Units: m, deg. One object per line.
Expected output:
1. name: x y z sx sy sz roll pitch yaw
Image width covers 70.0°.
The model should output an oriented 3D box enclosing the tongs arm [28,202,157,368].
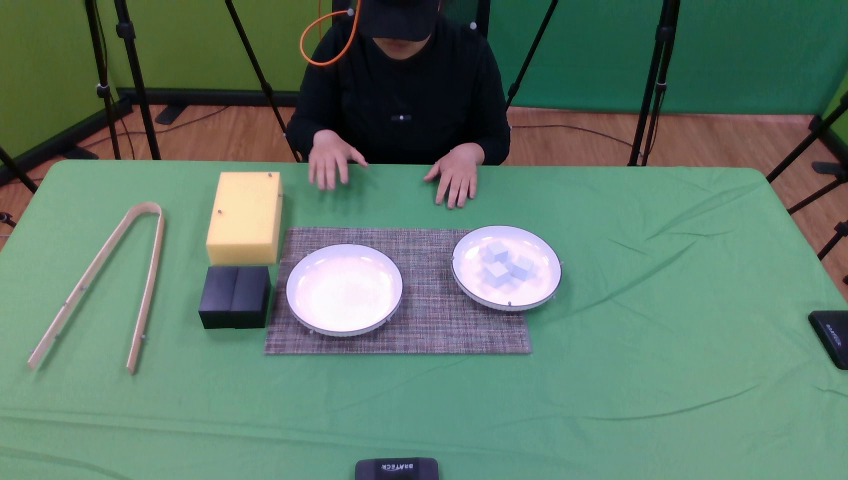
1. tongs arm: -0.579 0.064 1.084 0.051 0.026 0.382 6 45 1

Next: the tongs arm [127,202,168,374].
1. tongs arm: -0.496 0.070 1.090 0.028 0.028 0.385 -6 47 -6

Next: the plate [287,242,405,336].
1. plate: -0.138 0.090 1.085 0.208 0.039 0.206 2 46 -2

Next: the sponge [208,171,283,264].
1. sponge: -0.346 -0.048 1.191 0.118 0.061 0.205 -2 46 -6

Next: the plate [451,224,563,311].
1. plate: 0.154 0.053 1.140 0.209 0.038 0.208 2 47 -2
